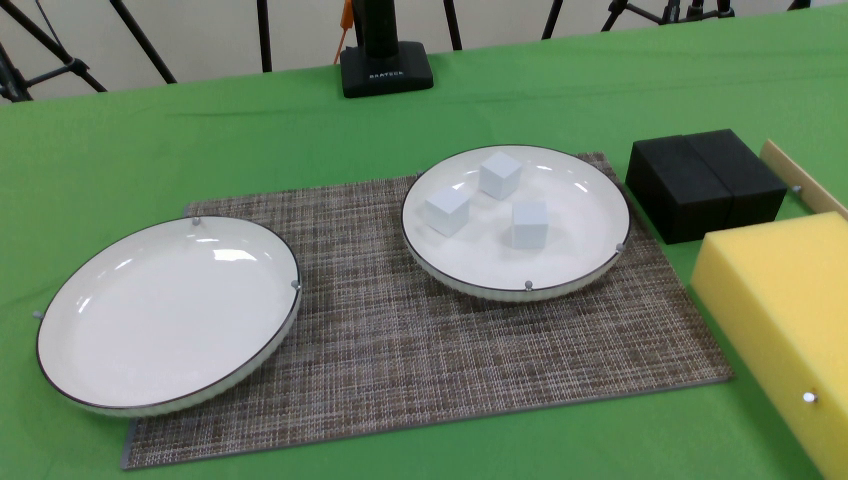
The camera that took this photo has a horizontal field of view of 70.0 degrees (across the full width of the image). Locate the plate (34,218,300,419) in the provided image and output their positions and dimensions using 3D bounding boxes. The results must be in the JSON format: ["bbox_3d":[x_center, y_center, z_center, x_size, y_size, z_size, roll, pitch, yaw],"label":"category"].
[{"bbox_3d":[-0.205,0.062,0.507,0.209,0.038,0.207,-2,43,2],"label":"plate"}]

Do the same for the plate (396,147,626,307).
[{"bbox_3d":[0.079,-0.013,0.565,0.207,0.039,0.205,-2,43,2],"label":"plate"}]

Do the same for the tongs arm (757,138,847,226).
[{"bbox_3d":[0.404,0.027,0.507,0.028,0.028,0.383,-10,44,-10],"label":"tongs arm"}]

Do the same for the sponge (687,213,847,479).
[{"bbox_3d":[0.302,0.076,0.441,0.118,0.061,0.204,-11,44,-6],"label":"sponge"}]
